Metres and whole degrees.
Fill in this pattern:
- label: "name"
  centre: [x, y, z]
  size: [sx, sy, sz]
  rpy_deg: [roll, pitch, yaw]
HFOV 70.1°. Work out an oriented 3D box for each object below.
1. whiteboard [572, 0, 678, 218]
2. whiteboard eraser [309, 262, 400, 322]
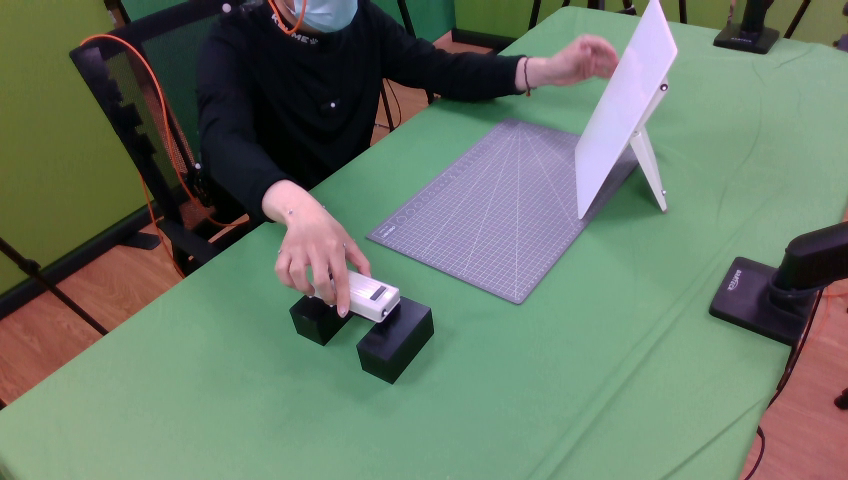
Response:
- label: "whiteboard"
  centre: [0.367, -0.188, 0.965]
  size: [0.144, 0.305, 0.216]
  rpy_deg: [17, 42, -3]
- label: "whiteboard eraser"
  centre: [-0.093, 0.071, 0.810]
  size: [0.112, 0.042, 0.056]
  rpy_deg: [20, 36, 19]
